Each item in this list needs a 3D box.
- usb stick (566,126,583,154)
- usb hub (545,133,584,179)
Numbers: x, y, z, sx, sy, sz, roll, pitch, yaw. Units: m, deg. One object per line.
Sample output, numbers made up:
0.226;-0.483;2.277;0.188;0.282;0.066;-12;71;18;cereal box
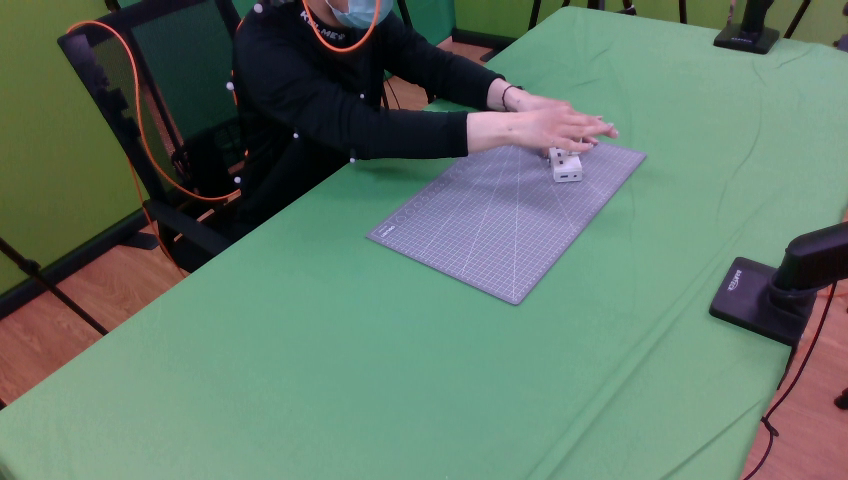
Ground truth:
0.267;-0.172;1.077;0.027;0.059;0.021;-3;35;2;usb stick
0.255;-0.155;1.102;0.049;0.025;0.124;2;39;-1;usb hub
